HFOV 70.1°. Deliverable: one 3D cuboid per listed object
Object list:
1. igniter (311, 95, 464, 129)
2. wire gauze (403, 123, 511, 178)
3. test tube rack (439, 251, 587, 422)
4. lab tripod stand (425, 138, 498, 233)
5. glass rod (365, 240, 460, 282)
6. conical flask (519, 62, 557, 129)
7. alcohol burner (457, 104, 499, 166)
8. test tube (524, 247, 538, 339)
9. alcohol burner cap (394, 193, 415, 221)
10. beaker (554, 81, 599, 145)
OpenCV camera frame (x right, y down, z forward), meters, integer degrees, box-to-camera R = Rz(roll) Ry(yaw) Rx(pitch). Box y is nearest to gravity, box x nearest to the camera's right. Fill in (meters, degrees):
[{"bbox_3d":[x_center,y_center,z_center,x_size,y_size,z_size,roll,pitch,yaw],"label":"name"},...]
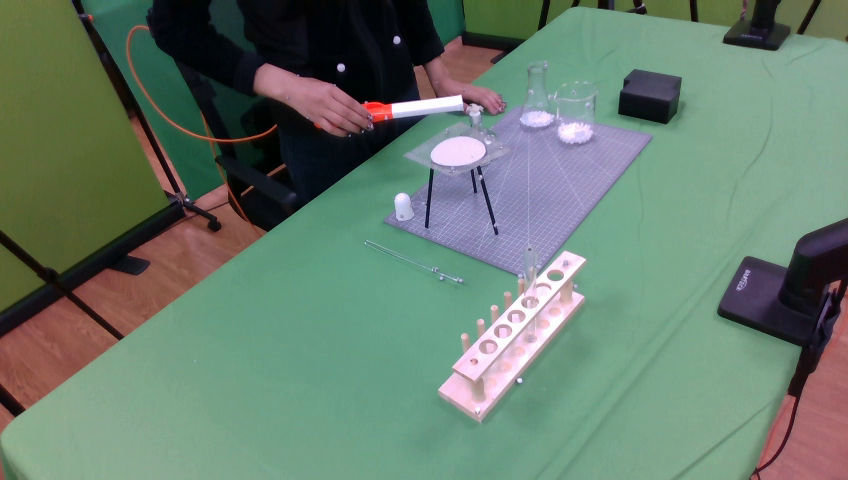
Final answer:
[{"bbox_3d":[-0.068,-0.231,1.086,0.276,0.025,0.057,-6,47,2],"label":"igniter"},{"bbox_3d":[0.051,-0.140,0.943,0.125,0.011,0.120,-30,43,-24],"label":"wire gauze"},{"bbox_3d":[0.118,0.111,0.780,0.066,0.085,0.243,26,51,35],"label":"test tube rack"},{"bbox_3d":[0.063,-0.091,0.988,0.148,0.132,0.147,-6,38,6],"label":"lab tripod stand"},{"bbox_3d":[-0.022,0.032,0.961,0.198,0.008,0.008,21,49,35],"label":"glass rod"},{"bbox_3d":[0.225,-0.288,1.199,0.075,0.122,0.075,-6,40,5],"label":"conical flask"},{"bbox_3d":[0.099,-0.198,1.124,0.078,0.119,0.077,-5,39,4],"label":"alcohol burner"},{"bbox_3d":[0.133,0.070,0.749,0.017,0.151,0.017,-5,38,4],"label":"test tube"},{"bbox_3d":[-0.036,-0.059,1.040,0.034,0.048,0.033,-6,41,5],"label":"alcohol burner cap"},{"bbox_3d":[0.286,-0.237,1.144,0.084,0.101,0.073,-17,40,-7],"label":"beaker"}]
